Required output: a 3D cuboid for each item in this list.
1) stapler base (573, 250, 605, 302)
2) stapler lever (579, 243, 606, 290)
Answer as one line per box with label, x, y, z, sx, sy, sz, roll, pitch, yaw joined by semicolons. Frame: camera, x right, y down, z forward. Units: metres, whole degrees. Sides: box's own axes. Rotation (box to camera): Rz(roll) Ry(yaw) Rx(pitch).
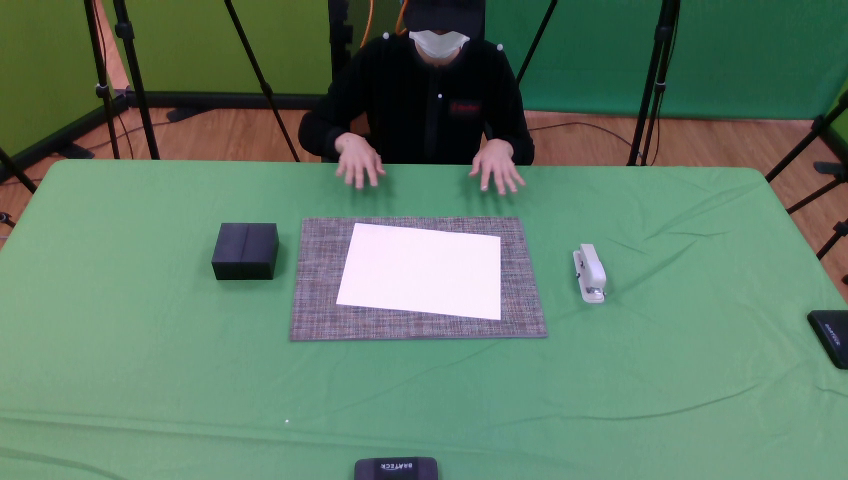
stapler base;0.317;0.062;1.160;0.041;0.024;0.129;3;44;-3
stapler lever;0.318;0.044;1.144;0.027;0.040;0.117;3;45;-3
